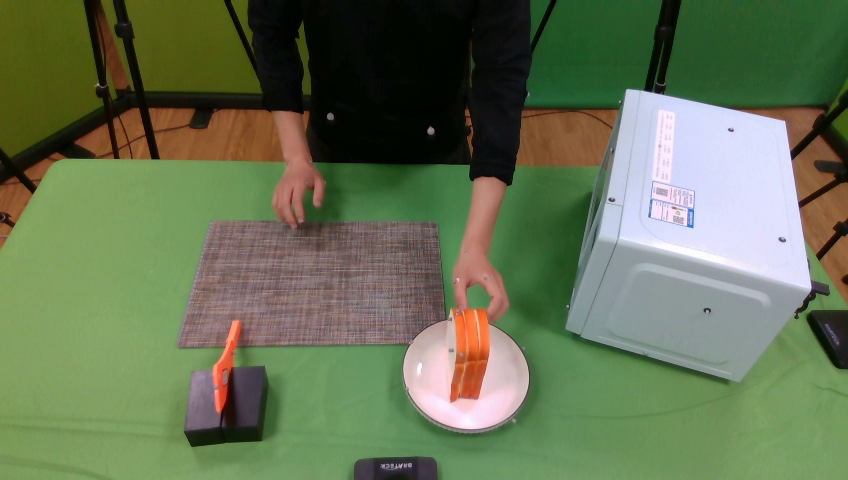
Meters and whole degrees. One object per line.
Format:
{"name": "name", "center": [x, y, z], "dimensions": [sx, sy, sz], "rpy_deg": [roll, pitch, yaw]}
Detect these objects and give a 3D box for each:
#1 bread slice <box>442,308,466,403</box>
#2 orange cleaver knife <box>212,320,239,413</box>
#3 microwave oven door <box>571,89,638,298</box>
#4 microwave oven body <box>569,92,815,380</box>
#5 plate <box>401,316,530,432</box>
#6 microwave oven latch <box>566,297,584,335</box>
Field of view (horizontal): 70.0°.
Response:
{"name": "bread slice", "center": [0.047, 0.171, 0.948], "dimensions": [0.018, 0.135, 0.106], "rpy_deg": [-1, 43, -6]}
{"name": "orange cleaver knife", "center": [-0.306, 0.190, 0.944], "dimensions": [0.012, 0.077, 0.210], "rpy_deg": [-5, 17, -7]}
{"name": "microwave oven door", "center": [0.343, -0.091, 1.132], "dimensions": [0.039, 0.245, 0.354], "rpy_deg": [15, 47, 10]}
{"name": "microwave oven body", "center": [0.468, -0.022, 1.082], "dimensions": [0.325, 0.261, 0.440], "rpy_deg": [15, 46, 11]}
{"name": "plate", "center": [0.066, 0.217, 0.982], "dimensions": [0.208, 0.039, 0.206], "rpy_deg": [2, 46, -2]}
{"name": "microwave oven latch", "center": [0.268, 0.126, 1.059], "dimensions": [0.030, 0.029, 0.079], "rpy_deg": [16, 46, 12]}
